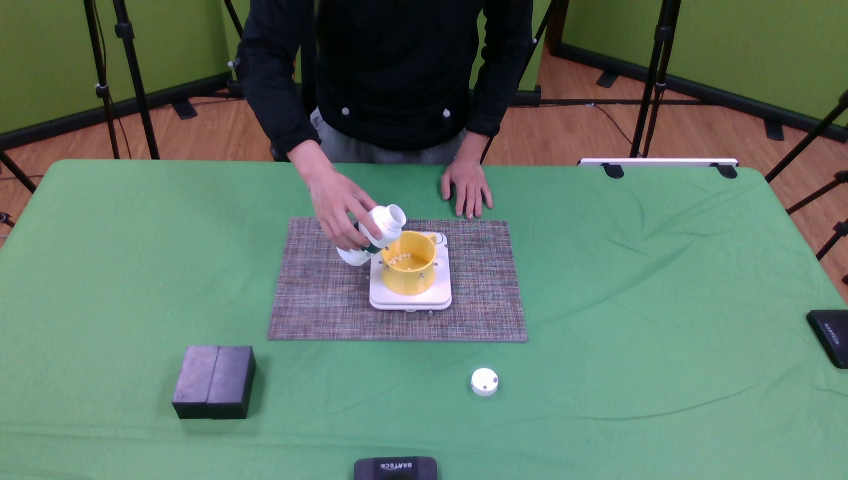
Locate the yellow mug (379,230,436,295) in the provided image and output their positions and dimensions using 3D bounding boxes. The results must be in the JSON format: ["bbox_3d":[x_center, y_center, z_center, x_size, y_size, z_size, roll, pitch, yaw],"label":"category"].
[{"bbox_3d":[-0.020,0.031,1.089,0.099,0.064,0.130,31,51,24],"label":"yellow mug"}]

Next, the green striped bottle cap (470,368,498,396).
[{"bbox_3d":[0.098,0.231,0.989,0.044,0.020,0.044,2,43,-2],"label":"green striped bottle cap"}]

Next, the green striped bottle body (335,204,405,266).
[{"bbox_3d":[-0.085,-0.012,0.982,0.063,0.119,0.063,35,37,-31],"label":"green striped bottle body"}]

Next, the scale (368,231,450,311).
[{"bbox_3d":[-0.029,0.048,1.137,0.149,0.032,0.199,1,46,-4],"label":"scale"}]
